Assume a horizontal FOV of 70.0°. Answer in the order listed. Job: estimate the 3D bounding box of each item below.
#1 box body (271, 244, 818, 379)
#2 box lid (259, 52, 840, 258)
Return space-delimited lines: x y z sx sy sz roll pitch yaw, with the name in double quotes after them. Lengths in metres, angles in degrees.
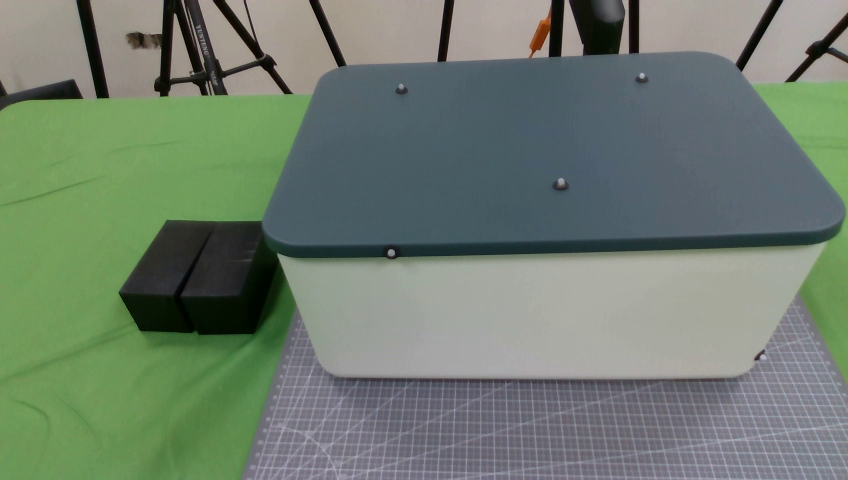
0.084 -0.022 0.515 0.364 0.162 0.251 -1 41 4 "box body"
0.076 -0.079 0.466 0.371 0.015 0.260 -1 40 4 "box lid"
